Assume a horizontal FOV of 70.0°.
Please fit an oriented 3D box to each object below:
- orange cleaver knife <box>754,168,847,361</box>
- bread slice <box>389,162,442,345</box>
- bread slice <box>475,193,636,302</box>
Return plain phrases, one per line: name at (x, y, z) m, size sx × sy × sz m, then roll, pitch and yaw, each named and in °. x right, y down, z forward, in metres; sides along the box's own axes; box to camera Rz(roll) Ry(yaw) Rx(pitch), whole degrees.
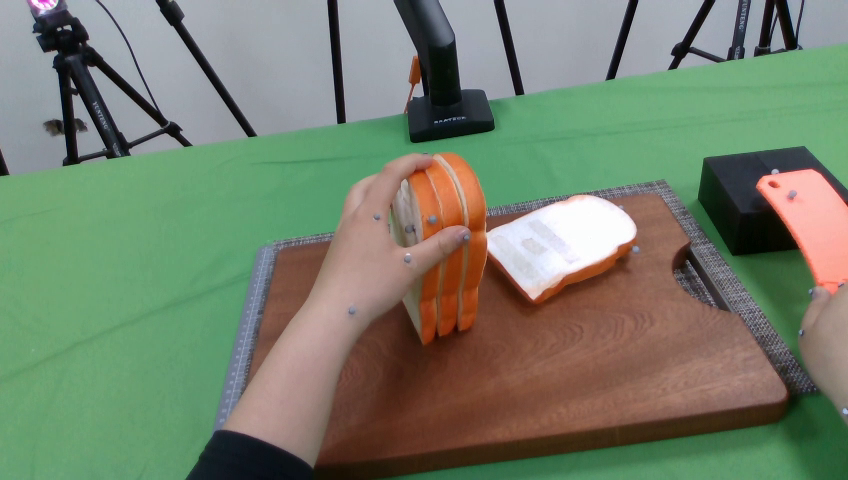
orange cleaver knife at (0.334, 0.012, 0.493) m, size 0.077 × 0.012 × 0.209 m, roll 3°, pitch 48°, yaw 1°
bread slice at (-0.009, 0.003, 0.509) m, size 0.018 × 0.135 × 0.106 m, roll -9°, pitch 34°, yaw -16°
bread slice at (0.128, 0.002, 0.561) m, size 0.131 × 0.019 × 0.103 m, roll -24°, pitch 37°, yaw -10°
